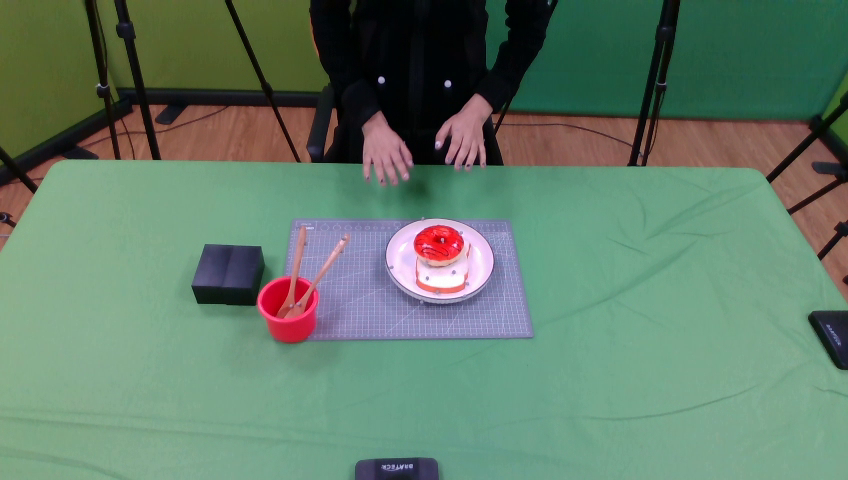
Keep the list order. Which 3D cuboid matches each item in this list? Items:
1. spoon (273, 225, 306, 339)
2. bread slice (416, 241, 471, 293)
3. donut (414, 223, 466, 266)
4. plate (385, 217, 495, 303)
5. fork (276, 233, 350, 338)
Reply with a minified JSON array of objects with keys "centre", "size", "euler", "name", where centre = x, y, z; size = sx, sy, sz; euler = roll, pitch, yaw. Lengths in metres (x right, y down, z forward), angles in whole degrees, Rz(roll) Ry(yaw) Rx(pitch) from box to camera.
[{"centre":[-0.221,0.070,1.026],"size":[0.041,0.021,0.193],"euler":[10,91,-1],"name":"spoon"},{"centre":[0.037,0.046,1.144],"size":[0.105,0.019,0.131],"euler":[4,45,2],"name":"bread slice"},{"centre":[0.030,0.007,1.140],"size":[0.099,0.048,0.098],"euler":[0,42,0],"name":"donut"},{"centre":[0.030,0.040,1.145],"size":[0.209,0.038,0.208],"euler":[2,46,-2],"name":"plate"},{"centre":[-0.184,0.075,1.014],"size":[0.028,0.019,0.207],"euler":[35,95,14],"name":"fork"}]
